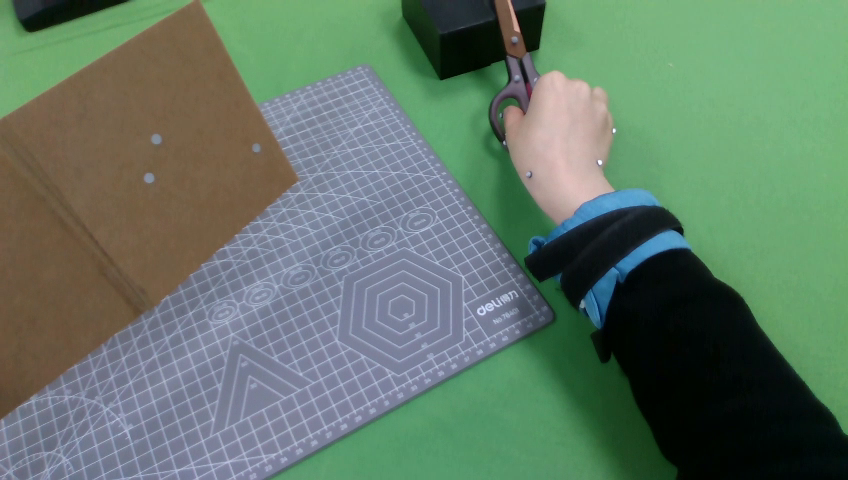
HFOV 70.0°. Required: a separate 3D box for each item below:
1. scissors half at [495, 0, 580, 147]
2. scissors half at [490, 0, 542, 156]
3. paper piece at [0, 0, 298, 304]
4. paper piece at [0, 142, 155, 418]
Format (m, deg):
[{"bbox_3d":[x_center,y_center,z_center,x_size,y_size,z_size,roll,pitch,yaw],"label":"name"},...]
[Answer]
[{"bbox_3d":[0.088,-0.160,0.508,0.040,0.013,0.174,-22,82,-3],"label":"scissors half"},{"bbox_3d":[0.069,-0.154,0.506,0.040,0.013,0.174,-5,80,-6],"label":"scissors half"},{"bbox_3d":[-0.148,-0.050,0.361,0.004,0.137,0.135,20,54,38],"label":"paper piece"},{"bbox_3d":[-0.237,0.033,0.308,0.138,0.137,0.008,-40,40,-21],"label":"paper piece"}]
